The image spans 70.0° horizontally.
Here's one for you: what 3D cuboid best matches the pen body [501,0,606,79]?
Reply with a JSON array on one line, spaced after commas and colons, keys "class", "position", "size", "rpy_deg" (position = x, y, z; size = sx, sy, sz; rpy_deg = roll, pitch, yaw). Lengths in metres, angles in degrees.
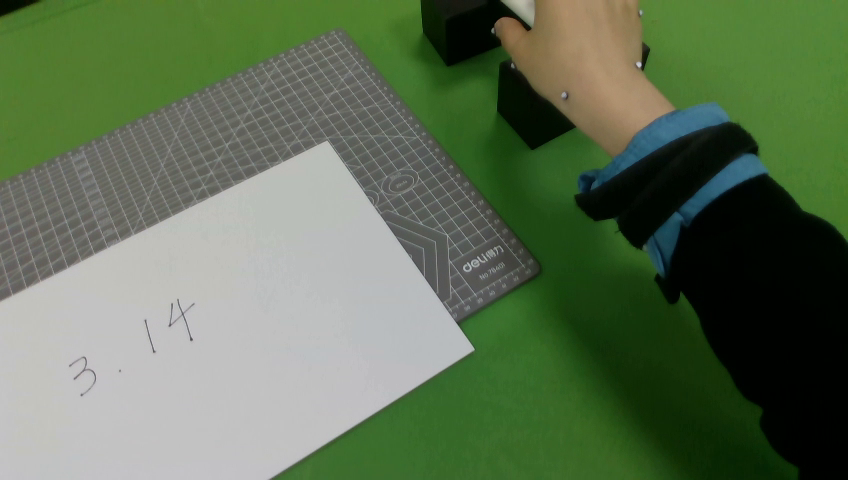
[{"class": "pen body", "position": [0.084, -0.170, 0.459], "size": [0.017, 0.017, 0.143], "rpy_deg": [-31, 63, -13]}]
